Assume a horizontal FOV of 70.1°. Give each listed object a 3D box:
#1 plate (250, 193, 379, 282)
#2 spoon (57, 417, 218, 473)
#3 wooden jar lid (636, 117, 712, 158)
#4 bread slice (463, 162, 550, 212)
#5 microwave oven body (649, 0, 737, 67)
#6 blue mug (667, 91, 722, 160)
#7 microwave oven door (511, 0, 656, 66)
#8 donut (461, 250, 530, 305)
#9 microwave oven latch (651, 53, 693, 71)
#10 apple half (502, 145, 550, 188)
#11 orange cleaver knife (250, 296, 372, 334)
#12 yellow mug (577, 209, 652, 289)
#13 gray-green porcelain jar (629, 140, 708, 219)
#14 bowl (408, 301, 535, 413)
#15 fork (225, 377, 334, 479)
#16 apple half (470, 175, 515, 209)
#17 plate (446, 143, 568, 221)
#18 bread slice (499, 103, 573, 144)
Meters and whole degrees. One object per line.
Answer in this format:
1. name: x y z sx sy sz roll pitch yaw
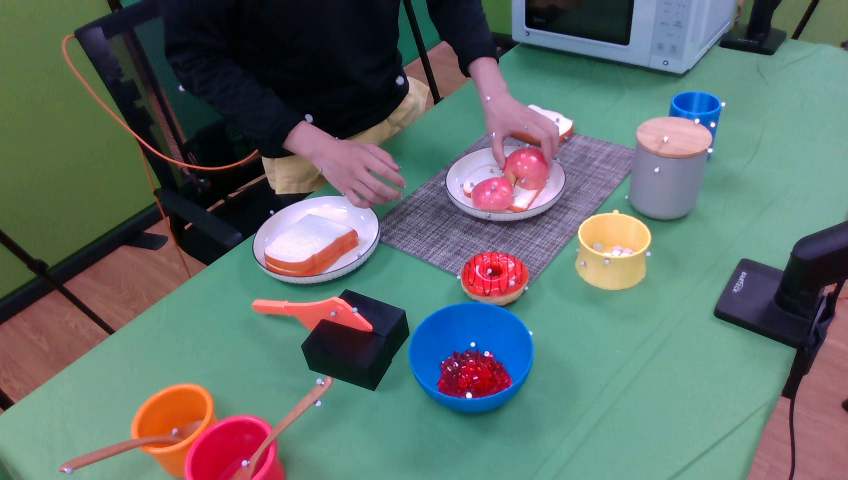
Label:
1. plate: -0.174 -0.001 0.984 0.209 0.038 0.208 -3 40 3
2. spoon: -0.304 0.221 0.661 0.041 0.195 0.021 19 92 27
3. wooden jar lid: 0.377 -0.151 0.917 0.108 0.021 0.108 -2 41 3
4. bread slice: 0.136 -0.092 1.046 0.133 0.018 0.107 17 45 21
5. microwave oven body: 0.475 -0.602 1.411 0.438 0.261 0.327 23 50 32
6. blue mug: 0.474 -0.207 1.079 0.082 0.106 0.116 4 42 13
7. microwave oven door: 0.351 -0.539 1.349 0.353 0.245 0.039 24 50 31
8. donut: 0.103 0.053 0.872 0.099 0.048 0.098 -4 40 4
9. microwave oven latch: 0.532 -0.386 1.301 0.078 0.029 0.030 27 52 34
10. apple half: 0.175 -0.132 1.031 0.080 0.053 0.075 29 54 35
11. orange cleaver knife: -0.158 0.103 0.828 0.210 0.078 0.012 -4 43 39
12. yellow mug: 0.279 0.004 0.893 0.099 0.064 0.130 5 41 15
13. gray-green porcelain jar: 0.383 -0.105 0.958 0.106 0.127 0.105 -4 41 4
14. bowl: 0.059 0.156 0.739 0.151 0.077 0.150 -4 40 4
15. fork: -0.163 0.216 0.646 0.207 0.019 0.028 -49 42 16
16. apple half: 0.114 -0.086 1.004 0.081 0.033 0.081 -3 43 3
17. plate: 0.142 -0.097 1.045 0.207 0.039 0.206 -4 41 4
18. bread slice: 0.231 -0.232 1.205 0.105 0.019 0.130 -36 47 -29
